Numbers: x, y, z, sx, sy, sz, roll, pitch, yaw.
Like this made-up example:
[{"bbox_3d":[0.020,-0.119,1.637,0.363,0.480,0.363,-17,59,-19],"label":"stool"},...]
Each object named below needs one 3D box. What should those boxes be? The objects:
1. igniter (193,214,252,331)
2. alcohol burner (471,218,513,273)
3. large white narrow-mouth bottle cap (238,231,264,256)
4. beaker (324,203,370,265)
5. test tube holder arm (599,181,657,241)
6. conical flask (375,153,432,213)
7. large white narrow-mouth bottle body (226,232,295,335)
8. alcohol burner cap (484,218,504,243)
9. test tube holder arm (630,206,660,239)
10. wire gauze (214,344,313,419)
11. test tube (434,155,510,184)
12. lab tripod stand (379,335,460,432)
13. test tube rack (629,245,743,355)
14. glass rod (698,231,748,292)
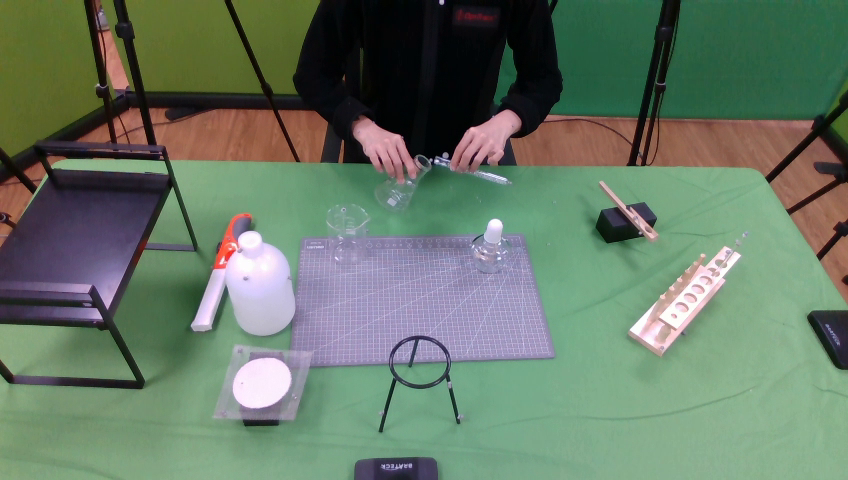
[{"bbox_3d":[-0.368,0.050,1.119,0.057,0.025,0.275,-3,46,8],"label":"igniter"},{"bbox_3d":[0.128,0.005,1.132,0.078,0.120,0.077,0,47,0],"label":"alcohol burner"},{"bbox_3d":[-0.266,0.006,0.932,0.038,0.024,0.037,2,46,-2],"label":"large white narrow-mouth bottle cap"},{"bbox_3d":[-0.142,-0.009,1.137,0.084,0.101,0.073,-3,47,-7],"label":"beaker"},{"bbox_3d":[0.407,-0.062,1.219,0.013,0.015,0.177,-23,51,-13],"label":"test tube holder arm"},{"bbox_3d":[-0.035,-0.114,1.169,0.075,0.122,0.075,27,40,-25],"label":"conical flask"},{"bbox_3d":[-0.270,0.065,0.995,0.102,0.195,0.101,2,46,-2],"label":"large white narrow-mouth bottle body"},{"bbox_3d":[0.130,-0.021,1.106,0.034,0.048,0.033,3,51,-4],"label":"alcohol burner cap"},{"bbox_3d":[0.431,-0.034,1.192,0.010,0.015,0.087,-23,51,-12],"label":"test tube holder arm"},{"bbox_3d":[-0.241,0.213,0.915,0.121,0.011,0.124,5,46,1],"label":"wire gauze"},{"bbox_3d":[0.091,-0.132,1.135,0.150,0.017,0.017,16,45,-10],"label":"test tube"},{"bbox_3d":[-0.010,0.214,0.911,0.148,0.132,0.147,1,45,0],"label":"lab tripod stand"},{"bbox_3d":[0.474,0.095,1.091,0.242,0.085,0.066,-34,56,-31],"label":"test tube rack"},{"bbox_3d":[0.514,0.044,1.051,0.008,0.200,0.008,1,55,-1],"label":"glass rod"}]
